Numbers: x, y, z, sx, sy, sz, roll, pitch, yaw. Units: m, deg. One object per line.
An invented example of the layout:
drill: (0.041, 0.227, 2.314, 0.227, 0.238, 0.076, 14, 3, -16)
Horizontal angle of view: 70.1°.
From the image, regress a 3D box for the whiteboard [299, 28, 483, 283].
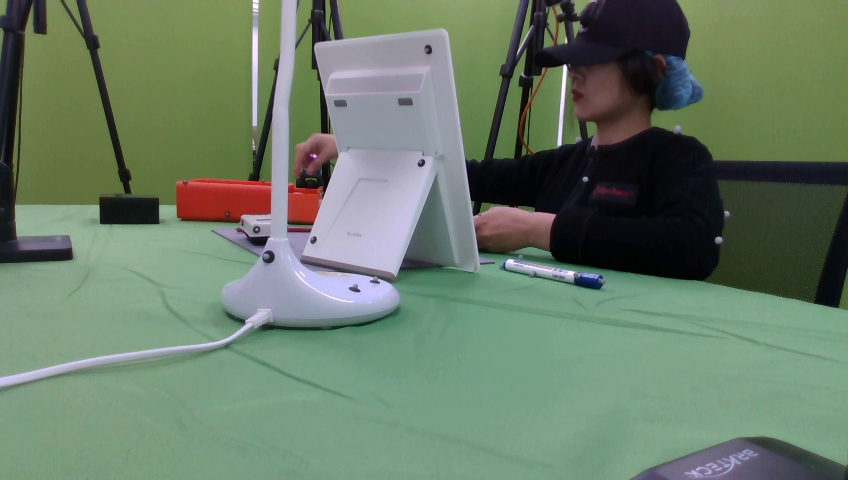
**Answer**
whiteboard: (-0.075, -0.082, 0.741, 0.216, 0.305, 0.144, 9, 30, 38)

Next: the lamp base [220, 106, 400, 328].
lamp base: (-0.101, -0.023, 0.531, 0.160, 0.180, 0.179, 4, 10, 10)

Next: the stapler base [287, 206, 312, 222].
stapler base: (-0.270, -0.060, 1.317, 0.041, 0.024, 0.130, 4, 10, -6)

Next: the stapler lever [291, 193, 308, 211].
stapler lever: (-0.269, -0.086, 1.314, 0.027, 0.040, 0.118, 4, 9, -6)

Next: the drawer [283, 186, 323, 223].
drawer: (-0.329, -0.084, 1.325, 0.212, 0.073, 0.194, 1, 8, -8)

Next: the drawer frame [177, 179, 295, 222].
drawer frame: (-0.397, -0.088, 1.315, 0.214, 0.082, 0.201, 1, 8, -7)

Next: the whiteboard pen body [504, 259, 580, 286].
whiteboard pen body: (0.157, 0.042, 0.764, 0.017, 0.017, 0.140, -4, 11, -41)

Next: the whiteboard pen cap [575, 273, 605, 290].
whiteboard pen cap: (0.197, 0.048, 0.719, 0.018, 0.018, 0.033, -4, 11, -41)

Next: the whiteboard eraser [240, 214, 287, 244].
whiteboard eraser: (-0.256, -0.018, 0.958, 0.056, 0.042, 0.112, 0, 8, -25)

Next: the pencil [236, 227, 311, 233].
pencil: (-0.239, -0.017, 1.093, 0.195, 0.012, 0.012, 1, 7, -27)
